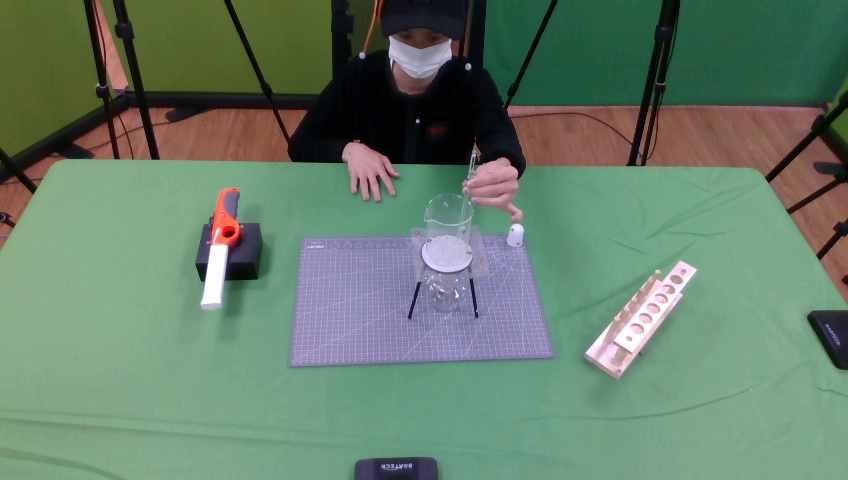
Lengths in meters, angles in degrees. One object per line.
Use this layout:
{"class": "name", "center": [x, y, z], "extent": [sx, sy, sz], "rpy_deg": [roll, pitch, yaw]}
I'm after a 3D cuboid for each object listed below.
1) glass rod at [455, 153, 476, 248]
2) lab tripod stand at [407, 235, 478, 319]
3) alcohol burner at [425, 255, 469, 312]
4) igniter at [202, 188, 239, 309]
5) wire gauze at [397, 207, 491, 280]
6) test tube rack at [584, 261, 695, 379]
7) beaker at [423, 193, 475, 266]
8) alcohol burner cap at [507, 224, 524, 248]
{"class": "glass rod", "center": [0.063, -0.055, 0.930], "extent": [0.008, 0.200, 0.008], "rpy_deg": [3, 47, -3]}
{"class": "lab tripod stand", "center": [0.032, 0.065, 1.057], "extent": [0.148, 0.132, 0.147], "rpy_deg": [1, 45, -1]}
{"class": "alcohol burner", "center": [0.041, 0.072, 1.065], "extent": [0.078, 0.120, 0.077], "rpy_deg": [1, 46, -1]}
{"class": "igniter", "center": [-0.366, 0.006, 1.095], "extent": [0.057, 0.025, 0.274], "rpy_deg": [-2, 50, -7]}
{"class": "wire gauze", "center": [0.032, 0.006, 1.001], "extent": [0.125, 0.011, 0.120], "rpy_deg": [-20, 52, -16]}
{"class": "test tube rack", "center": [0.380, 0.127, 1.062], "extent": [0.066, 0.085, 0.242], "rpy_deg": [34, 53, 26]}
{"class": "beaker", "center": [0.036, -0.013, 0.974], "extent": [0.084, 0.101, 0.073], "rpy_deg": [-18, 48, -19]}
{"class": "alcohol burner cap", "center": [0.183, -0.010, 1.206], "extent": [0.034, 0.048, 0.033], "rpy_deg": [0, 45, 0]}
